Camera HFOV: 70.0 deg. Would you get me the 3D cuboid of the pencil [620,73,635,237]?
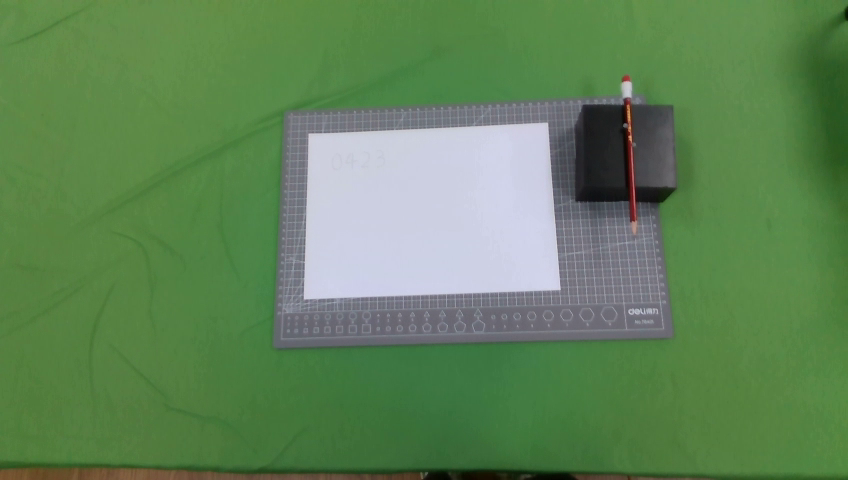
[{"bbox_3d":[0.226,-0.097,0.670,0.012,0.012,0.193,1,75,4],"label":"pencil"}]
